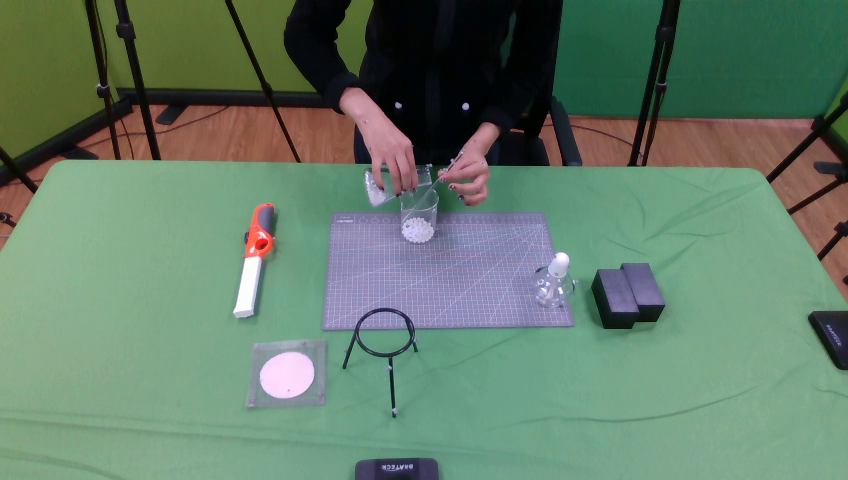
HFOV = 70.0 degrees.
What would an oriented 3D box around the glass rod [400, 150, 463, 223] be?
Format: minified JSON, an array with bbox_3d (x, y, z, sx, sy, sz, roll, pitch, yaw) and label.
[{"bbox_3d":[0.011,-0.098,1.142,0.008,0.200,0.008,29,34,-22],"label":"glass rod"}]

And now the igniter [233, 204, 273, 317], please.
[{"bbox_3d":[-0.321,0.029,1.142,0.057,0.025,0.274,-8,46,4],"label":"igniter"}]

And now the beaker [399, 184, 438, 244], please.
[{"bbox_3d":[-0.015,-0.046,1.186,0.073,0.101,0.084,36,54,27],"label":"beaker"}]

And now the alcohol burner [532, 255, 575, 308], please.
[{"bbox_3d":[0.235,0.066,1.087,0.078,0.119,0.077,4,45,-3],"label":"alcohol burner"}]

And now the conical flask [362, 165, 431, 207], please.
[{"bbox_3d":[-0.049,-0.108,1.119,0.122,0.076,0.075,-11,47,2],"label":"conical flask"}]

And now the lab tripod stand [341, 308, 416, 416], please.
[{"bbox_3d":[-0.061,0.177,0.946,0.148,0.132,0.147,2,44,-2],"label":"lab tripod stand"}]

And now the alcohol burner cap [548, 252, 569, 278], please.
[{"bbox_3d":[0.238,0.042,1.060,0.034,0.048,0.033,1,53,-1],"label":"alcohol burner cap"}]

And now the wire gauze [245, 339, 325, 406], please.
[{"bbox_3d":[-0.224,0.214,0.984,0.125,0.011,0.120,-2,46,-5],"label":"wire gauze"}]
